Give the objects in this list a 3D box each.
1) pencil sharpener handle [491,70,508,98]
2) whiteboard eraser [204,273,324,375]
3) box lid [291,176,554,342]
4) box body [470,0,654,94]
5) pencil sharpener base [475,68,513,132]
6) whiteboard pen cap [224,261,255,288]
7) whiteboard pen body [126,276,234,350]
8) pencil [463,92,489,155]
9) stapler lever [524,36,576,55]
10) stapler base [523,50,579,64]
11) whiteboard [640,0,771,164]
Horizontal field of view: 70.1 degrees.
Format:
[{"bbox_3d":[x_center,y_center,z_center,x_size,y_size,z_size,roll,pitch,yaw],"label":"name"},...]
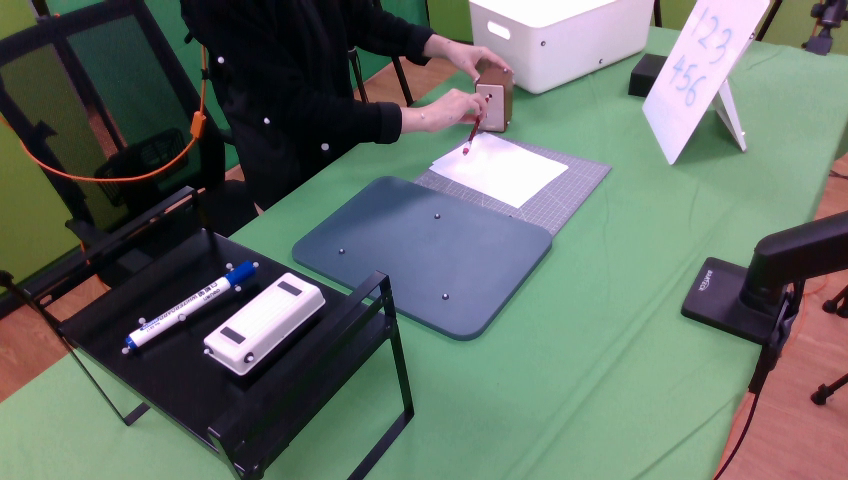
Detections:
[{"bbox_3d":[0.154,-0.327,1.251,0.036,0.068,0.030,22,45,3],"label":"pencil sharpener handle"},{"bbox_3d":[-0.157,0.084,0.605,0.055,0.042,0.113,24,49,30],"label":"whiteboard eraser"},{"bbox_3d":[-0.005,0.011,0.971,0.368,0.015,0.264,21,49,30],"label":"box lid"},{"bbox_3d":[0.319,-0.498,1.405,0.365,0.161,0.252,-26,43,-21],"label":"box body"},{"bbox_3d":[0.144,-0.284,1.222,0.061,0.107,0.076,7,42,18],"label":"pencil sharpener base"},{"bbox_3d":[-0.207,0.039,0.677,0.033,0.018,0.018,-36,47,-18],"label":"whiteboard pen cap"},{"bbox_3d":[-0.251,0.071,0.649,0.141,0.017,0.017,-36,48,-26],"label":"whiteboard pen body"},{"bbox_3d":[0.098,-0.218,1.108,0.012,0.012,0.193,7,47,16],"label":"pencil"},{"bbox_3d":[0.296,-0.456,1.418,0.117,0.040,0.027,4,40,17],"label":"stapler lever"},{"bbox_3d":[0.301,-0.436,1.434,0.130,0.024,0.041,5,40,16],"label":"stapler base"},{"bbox_3d":[0.543,-0.299,1.076,0.144,0.305,0.216,12,40,-7],"label":"whiteboard"}]
